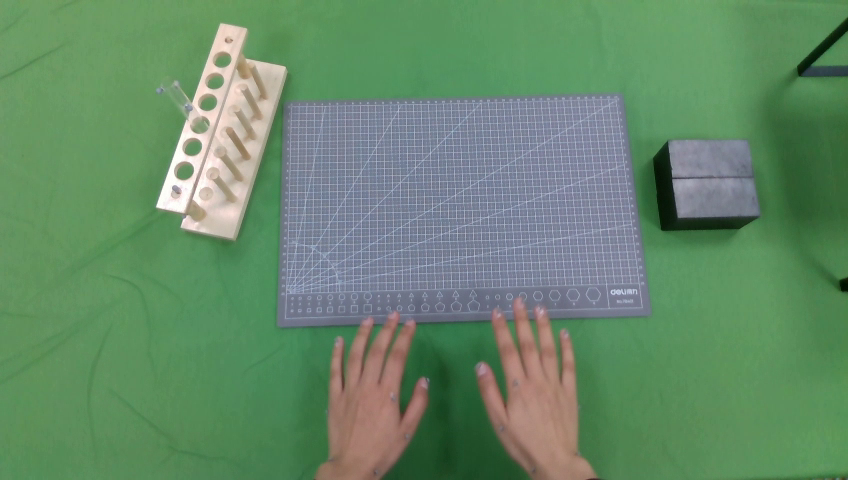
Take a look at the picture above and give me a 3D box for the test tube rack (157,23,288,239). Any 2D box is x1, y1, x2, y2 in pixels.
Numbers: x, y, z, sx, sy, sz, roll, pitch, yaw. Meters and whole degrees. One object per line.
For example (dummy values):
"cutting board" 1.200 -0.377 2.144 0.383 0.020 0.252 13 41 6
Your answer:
"test tube rack" -0.240 -0.133 0.742 0.067 0.085 0.241 12 75 3

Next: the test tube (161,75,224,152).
"test tube" -0.261 -0.140 0.692 0.017 0.151 0.017 -1 71 2
